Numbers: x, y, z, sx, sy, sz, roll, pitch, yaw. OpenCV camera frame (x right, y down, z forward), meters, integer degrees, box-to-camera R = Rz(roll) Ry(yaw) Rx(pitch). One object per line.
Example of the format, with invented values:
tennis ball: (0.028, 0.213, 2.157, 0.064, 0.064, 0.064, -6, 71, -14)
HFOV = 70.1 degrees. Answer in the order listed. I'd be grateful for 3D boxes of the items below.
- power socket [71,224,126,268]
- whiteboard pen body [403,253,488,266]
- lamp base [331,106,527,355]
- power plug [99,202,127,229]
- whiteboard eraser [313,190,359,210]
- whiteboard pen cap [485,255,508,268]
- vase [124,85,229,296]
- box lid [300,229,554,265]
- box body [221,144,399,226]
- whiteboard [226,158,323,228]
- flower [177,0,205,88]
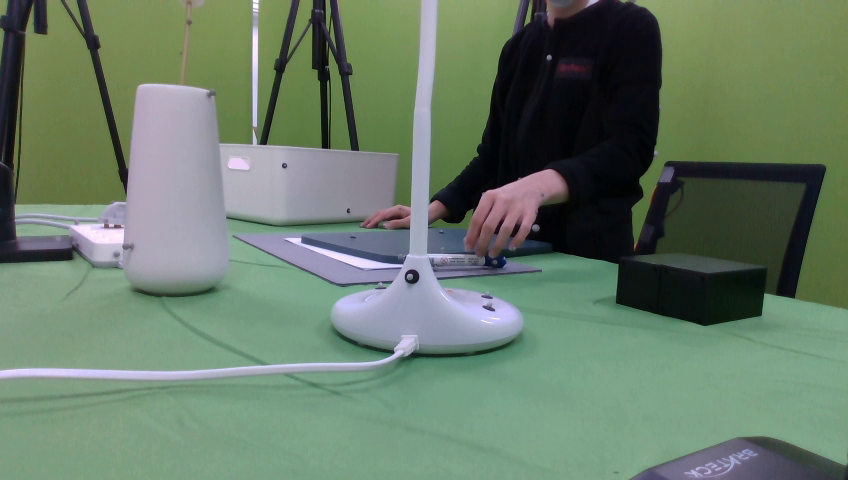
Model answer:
power socket: (-0.409, 0.004, 0.793, 0.072, 0.032, 0.225, -2, 8, -37)
whiteboard pen body: (0.040, 0.027, 0.785, 0.141, 0.017, 0.017, 1, 7, -24)
lamp base: (0.006, -0.012, 0.478, 0.161, 0.180, 0.179, 2, 10, 2)
power plug: (-0.415, -0.026, 0.848, 0.073, 0.052, 0.035, 6, 5, -28)
whiteboard eraser: (-0.222, -0.099, 1.517, 0.112, 0.042, 0.056, 9, 17, 33)
whiteboard pen cap: (0.094, 0.029, 0.809, 0.033, 0.018, 0.018, 0, 8, -25)
vase: (-0.244, -0.047, 0.598, 0.098, 0.200, 0.098, 3, 8, 0)
box lid: (0.011, 0.006, 0.999, 0.374, 0.015, 0.262, -3, 9, -43)
box body: (-0.264, -0.129, 1.380, 0.253, 0.160, 0.366, 8, 9, 39)
whiteboard: (-0.276, -0.119, 1.376, 0.216, 0.143, 0.307, 7, 10, 39)
flower: (-0.243, -0.131, 0.609, 0.044, 0.361, 0.038, -5, -12, 12)
